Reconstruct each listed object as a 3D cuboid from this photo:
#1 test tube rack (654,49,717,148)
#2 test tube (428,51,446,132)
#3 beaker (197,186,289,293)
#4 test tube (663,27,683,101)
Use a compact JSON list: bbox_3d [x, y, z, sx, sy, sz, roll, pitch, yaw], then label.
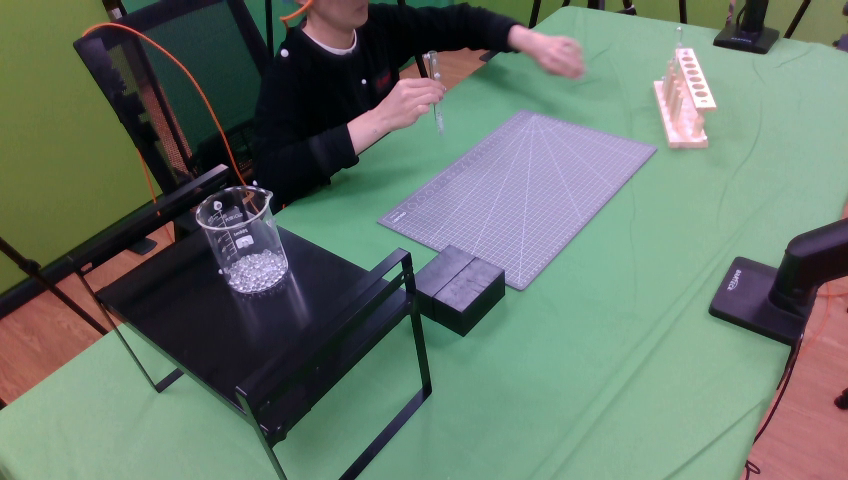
[{"bbox_3d":[0.502,-0.281,1.176,0.066,0.085,0.241,2,41,11],"label":"test tube rack"},{"bbox_3d":[0.025,-0.258,1.065,0.017,0.151,0.017,-5,40,5],"label":"test tube"},{"bbox_3d":[-0.192,0.001,0.666,0.084,0.101,0.073,-32,47,-27],"label":"beaker"},{"bbox_3d":[0.486,-0.342,1.181,0.017,0.151,0.017,-4,42,4],"label":"test tube"}]
